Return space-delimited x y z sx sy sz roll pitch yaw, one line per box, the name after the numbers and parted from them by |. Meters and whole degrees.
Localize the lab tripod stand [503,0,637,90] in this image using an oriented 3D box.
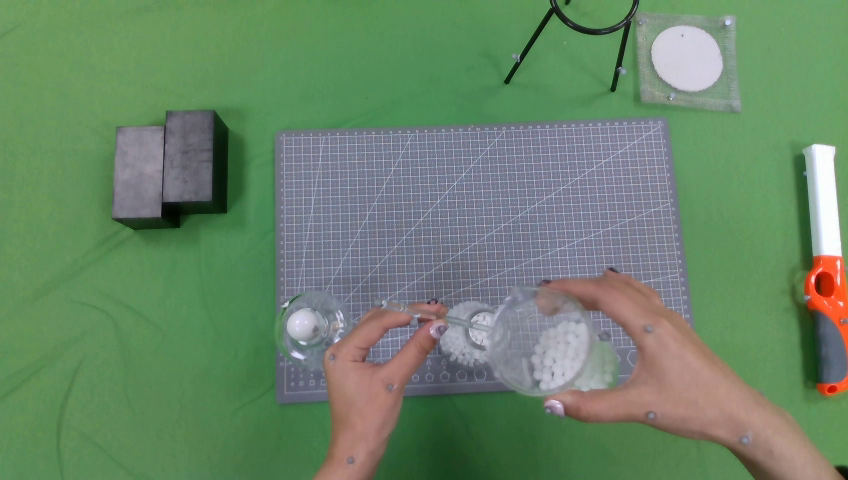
0.160 -0.227 0.652 0.148 0.132 0.148 0 81 -1 | lab tripod stand

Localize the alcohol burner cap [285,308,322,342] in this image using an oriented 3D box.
-0.112 0.077 0.556 0.034 0.048 0.034 1 82 -5 | alcohol burner cap

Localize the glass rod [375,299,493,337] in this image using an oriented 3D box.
0.016 0.065 0.481 0.008 0.201 0.008 -8 73 26 | glass rod

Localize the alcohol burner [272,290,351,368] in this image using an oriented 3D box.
-0.113 0.085 0.591 0.078 0.119 0.077 0 78 1 | alcohol burner

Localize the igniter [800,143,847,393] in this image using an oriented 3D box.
0.441 0.027 0.667 0.057 0.025 0.275 5 79 -12 | igniter

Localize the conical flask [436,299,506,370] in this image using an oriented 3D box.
0.051 0.090 0.592 0.075 0.122 0.075 0 78 -1 | conical flask

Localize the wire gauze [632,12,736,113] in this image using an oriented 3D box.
0.309 -0.213 0.718 0.125 0.011 0.121 4 80 -3 | wire gauze

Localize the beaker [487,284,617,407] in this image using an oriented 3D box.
0.097 0.081 0.447 0.074 0.101 0.083 -30 58 15 | beaker
